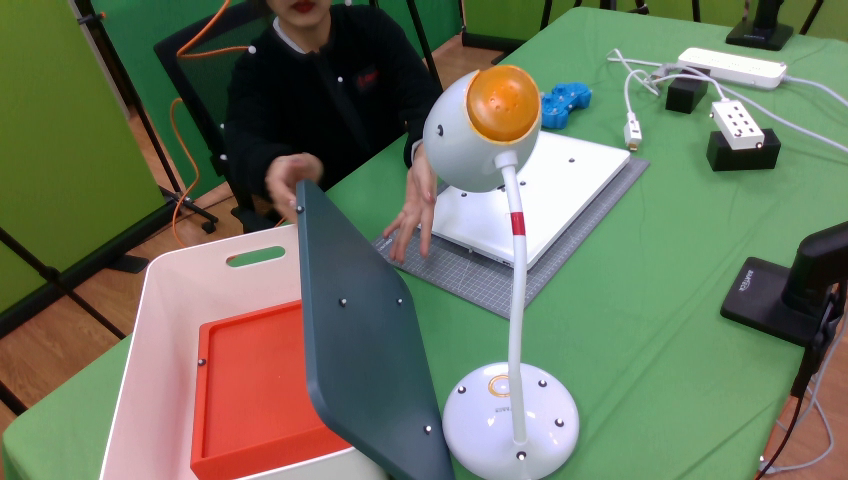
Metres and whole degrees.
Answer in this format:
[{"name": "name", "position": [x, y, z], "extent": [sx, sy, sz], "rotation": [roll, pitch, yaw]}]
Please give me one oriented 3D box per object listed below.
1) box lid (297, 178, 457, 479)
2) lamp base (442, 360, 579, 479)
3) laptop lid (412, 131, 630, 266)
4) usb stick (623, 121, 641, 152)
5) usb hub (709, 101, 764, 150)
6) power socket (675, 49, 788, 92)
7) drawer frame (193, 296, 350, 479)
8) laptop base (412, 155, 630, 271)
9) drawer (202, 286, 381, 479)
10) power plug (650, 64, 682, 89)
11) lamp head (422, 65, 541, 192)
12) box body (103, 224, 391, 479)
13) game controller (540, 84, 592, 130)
[{"name": "box lid", "position": [-0.059, 0.103, 0.702], "extent": [0.015, 0.265, 0.369], "rotation": [-30, 39, 11]}, {"name": "lamp base", "position": [0.094, 0.158, 0.657], "extent": [0.161, 0.181, 0.178], "rotation": [-14, 42, -5]}, {"name": "laptop lid", "position": [0.172, -0.094, 1.050], "extent": [0.239, 0.013, 0.358], "rotation": [23, 49, 36]}, {"name": "usb stick", "position": [0.389, -0.191, 1.128], "extent": [0.021, 0.027, 0.059], "rotation": [8, 62, -8]}, {"name": "usb hub", "position": [0.534, -0.199, 1.040], "extent": [0.049, 0.025, 0.124], "rotation": [-5, 39, 8]}, {"name": "power socket", "position": [0.647, -0.363, 1.284], "extent": [0.225, 0.033, 0.072], "rotation": [26, 52, 35]}, {"name": "drawer frame", "position": [-0.172, 0.175, 0.755], "extent": [0.202, 0.083, 0.212], "rotation": [-14, 42, -7]}, {"name": "laptop base", "position": [0.176, -0.085, 1.056], "extent": [0.233, 0.023, 0.355], "rotation": [20, 48, 36]}, {"name": "drawer", "position": [-0.170, 0.175, 0.760], "extent": [0.195, 0.073, 0.210], "rotation": [-15, 42, -7]}, {"name": "power plug", "position": [0.498, -0.341, 1.263], "extent": [0.035, 0.052, 0.072], "rotation": [20, 10, -7]}, {"name": "lamp head", "position": [0.060, -0.106, 0.560], "extent": [0.113, 0.112, 0.122], "rotation": [-17, 1, -8]}, {"name": "box body", "position": [-0.190, 0.161, 0.723], "extent": [0.255, 0.161, 0.361], "rotation": [-13, 40, -5]}, {"name": "game controller", "position": [0.277, -0.282, 1.251], "extent": [0.096, 0.052, 0.155], "rotation": [27, 52, 31]}]
